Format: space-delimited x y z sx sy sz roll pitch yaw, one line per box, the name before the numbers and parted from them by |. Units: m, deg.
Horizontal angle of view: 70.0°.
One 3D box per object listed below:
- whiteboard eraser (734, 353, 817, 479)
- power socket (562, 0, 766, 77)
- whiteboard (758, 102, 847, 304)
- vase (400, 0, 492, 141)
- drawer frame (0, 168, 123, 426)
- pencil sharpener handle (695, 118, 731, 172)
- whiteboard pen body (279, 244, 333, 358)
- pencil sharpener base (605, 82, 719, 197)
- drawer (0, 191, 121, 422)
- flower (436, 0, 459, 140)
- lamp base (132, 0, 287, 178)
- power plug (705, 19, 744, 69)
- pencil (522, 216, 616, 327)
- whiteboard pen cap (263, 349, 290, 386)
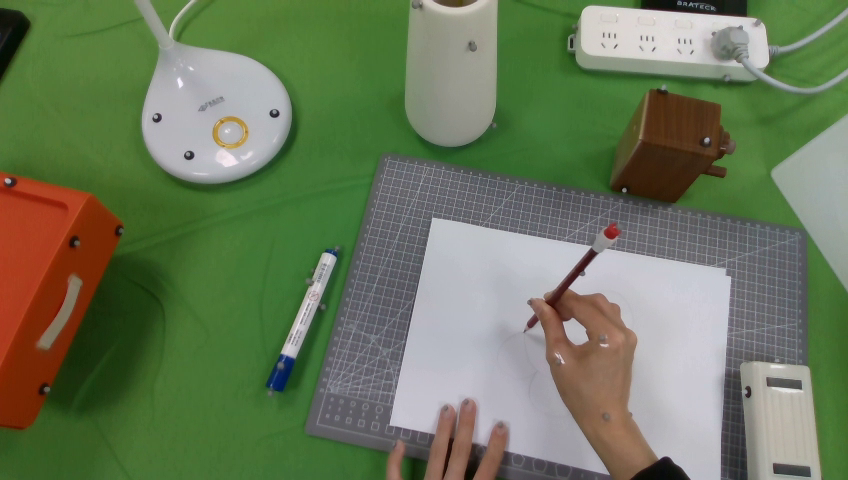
whiteboard eraser | 0.309 0.159 0.538 0.055 0.042 0.112 6 70 1
power socket | 0.273 -0.229 0.689 0.227 0.033 0.072 5 70 2
whiteboard | 0.505 -0.069 0.517 0.144 0.306 0.215 -13 68 -25
vase | 0.021 -0.180 0.583 0.098 0.201 0.097 -1 68 2
drawer frame | -0.413 0.033 0.523 0.213 0.083 0.200 14 71 3
pencil sharpener handle | 0.283 -0.088 0.585 0.030 0.068 0.036 13 68 5
whiteboard pen body | -0.117 0.066 0.585 0.017 0.017 0.140 15 67 6
pencil sharpener base | 0.233 -0.095 0.600 0.076 0.108 0.061 13 70 5
drawer | -0.407 0.032 0.521 0.211 0.073 0.193 14 71 5
flower | 0.030 -0.224 0.512 0.038 0.364 0.043 -1 51 -7
lamp base | -0.240 -0.176 0.592 0.160 0.181 0.178 -42 72 -14
power plug | 0.321 -0.206 0.656 0.035 0.053 0.072 15 72 6
pencil | 0.113 0.035 0.504 0.012 0.195 0.012 5 59 -9
whiteboard pen cap | -0.136 0.117 0.562 0.018 0.018 0.033 16 65 7
